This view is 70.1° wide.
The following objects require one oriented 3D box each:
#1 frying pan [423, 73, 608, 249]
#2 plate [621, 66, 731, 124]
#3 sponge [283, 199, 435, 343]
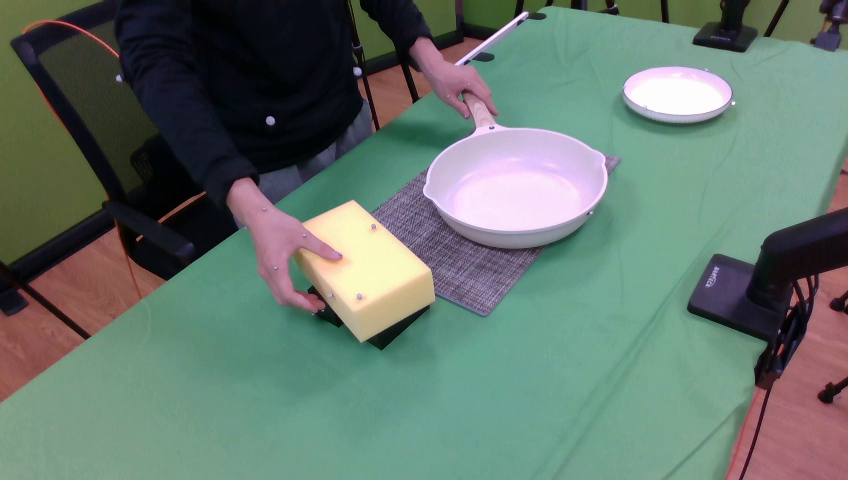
[{"bbox_3d":[0.129,-0.160,1.069,0.307,0.103,0.484,-11,49,-6],"label":"frying pan"},{"bbox_3d":[0.503,-0.288,1.221,0.207,0.039,0.206,-4,41,4],"label":"plate"},{"bbox_3d":[-0.093,0.035,0.835,0.119,0.061,0.205,-29,45,-23],"label":"sponge"}]
